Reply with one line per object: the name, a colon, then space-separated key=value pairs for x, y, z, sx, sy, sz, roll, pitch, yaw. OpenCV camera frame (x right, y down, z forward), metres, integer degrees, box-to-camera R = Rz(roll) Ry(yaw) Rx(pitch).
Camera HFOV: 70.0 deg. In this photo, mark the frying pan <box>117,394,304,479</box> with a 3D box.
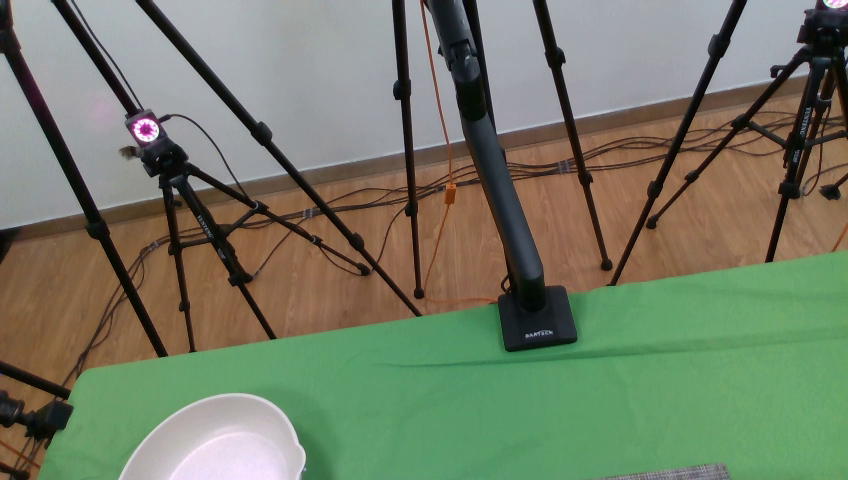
frying pan: x=-0.301 y=0.436 z=0.820 sx=0.307 sy=0.104 sz=0.482 roll=-16 pitch=38 yaw=3
